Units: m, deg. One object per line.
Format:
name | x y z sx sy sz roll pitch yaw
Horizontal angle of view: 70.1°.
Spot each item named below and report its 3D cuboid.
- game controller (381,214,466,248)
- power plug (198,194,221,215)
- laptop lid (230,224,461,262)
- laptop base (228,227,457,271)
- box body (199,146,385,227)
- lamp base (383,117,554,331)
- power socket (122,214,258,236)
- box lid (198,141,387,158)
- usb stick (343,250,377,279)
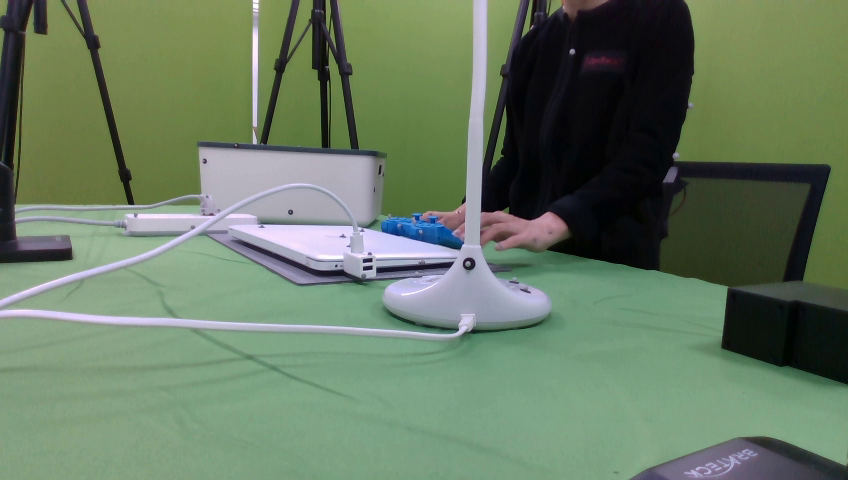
game controller | -0.006 -0.017 1.039 0.097 0.051 0.154 -5 10 -34
power plug | -0.387 -0.055 1.089 0.035 0.052 0.072 -1 7 -22
laptop lid | -0.120 0.000 0.888 0.243 0.013 0.355 1 7 -33
laptop base | -0.122 0.011 0.889 0.237 0.023 0.352 2 6 -35
box body | -0.276 -0.124 1.334 0.364 0.160 0.254 3 7 1
lamp base | 0.045 -0.019 0.547 0.161 0.180 0.179 2 10 -4
power socket | -0.398 -0.028 1.049 0.228 0.032 0.072 -3 8 -34
box lid | -0.275 -0.197 1.326 0.372 0.015 0.263 4 8 1
usb stick | -0.076 0.026 0.687 0.021 0.027 0.059 -8 8 -31
